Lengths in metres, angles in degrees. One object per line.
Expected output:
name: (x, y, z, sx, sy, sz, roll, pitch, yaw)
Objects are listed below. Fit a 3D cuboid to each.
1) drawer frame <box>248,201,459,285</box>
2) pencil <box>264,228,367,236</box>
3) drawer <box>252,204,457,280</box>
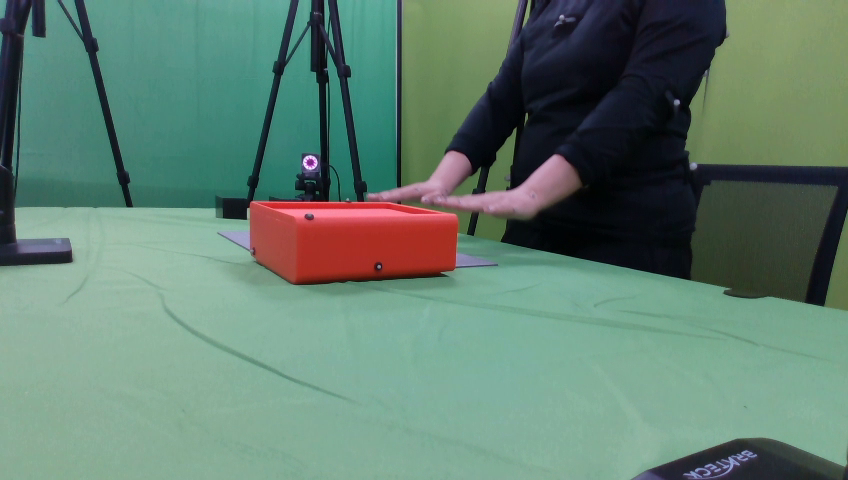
drawer frame: (-0.096, -0.005, 0.785, 0.215, 0.082, 0.200, -3, 10, -31)
pencil: (-0.195, -0.013, 1.109, 0.195, 0.012, 0.012, 1, 7, -28)
drawer: (-0.095, -0.003, 0.787, 0.213, 0.073, 0.193, -3, 10, -30)
